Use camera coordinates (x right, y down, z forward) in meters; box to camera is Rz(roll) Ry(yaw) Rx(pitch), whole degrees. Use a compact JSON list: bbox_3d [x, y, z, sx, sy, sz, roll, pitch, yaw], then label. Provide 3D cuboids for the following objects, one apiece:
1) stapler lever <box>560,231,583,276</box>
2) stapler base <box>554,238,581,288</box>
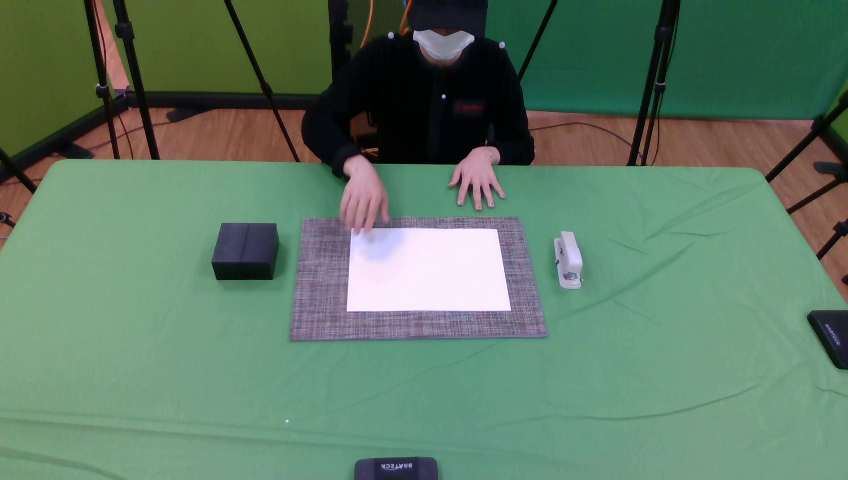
[{"bbox_3d":[0.283,0.018,1.165,0.027,0.040,0.117,5,44,-2],"label":"stapler lever"},{"bbox_3d":[0.282,0.038,1.181,0.041,0.024,0.130,5,44,-2],"label":"stapler base"}]
